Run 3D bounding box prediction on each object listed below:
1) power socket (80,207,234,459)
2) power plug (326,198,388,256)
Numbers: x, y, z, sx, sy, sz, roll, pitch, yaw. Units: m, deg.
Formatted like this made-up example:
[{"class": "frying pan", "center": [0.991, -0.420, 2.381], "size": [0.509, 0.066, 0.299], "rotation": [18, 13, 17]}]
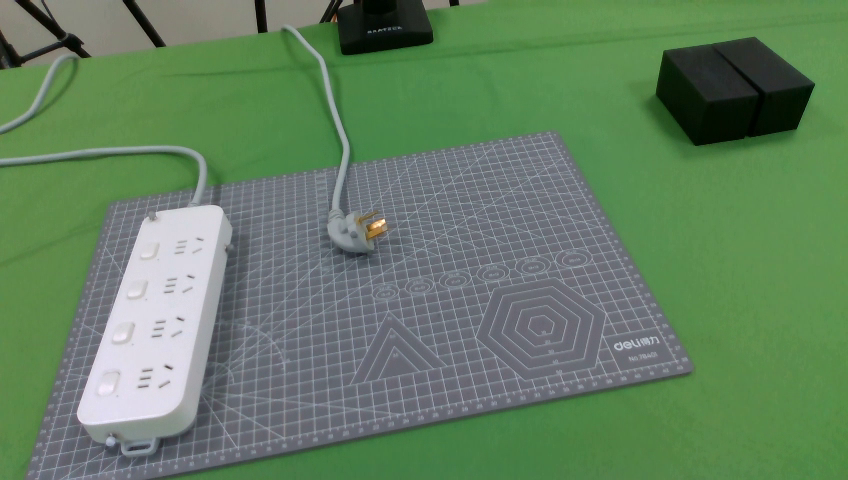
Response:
[{"class": "power socket", "center": [-0.196, 0.054, 0.467], "size": [0.072, 0.033, 0.224], "rotation": [-6, 44, -1]}, {"class": "power plug", "center": [-0.060, -0.020, 0.518], "size": [0.052, 0.035, 0.072], "rotation": [-19, 63, 9]}]
